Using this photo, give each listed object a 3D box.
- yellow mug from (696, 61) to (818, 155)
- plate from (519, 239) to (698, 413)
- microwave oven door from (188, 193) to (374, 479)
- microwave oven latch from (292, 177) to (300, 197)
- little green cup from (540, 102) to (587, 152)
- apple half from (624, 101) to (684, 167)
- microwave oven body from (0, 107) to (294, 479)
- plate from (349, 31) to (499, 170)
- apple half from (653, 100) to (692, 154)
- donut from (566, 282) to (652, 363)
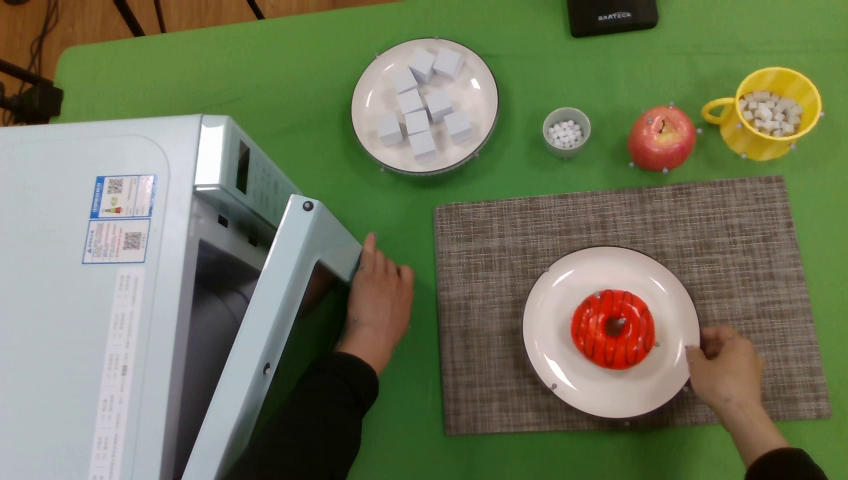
[{"bbox_3d":[0.416,-0.168,0.771,0.130,0.064,0.099,6,76,10],"label":"yellow mug"},{"bbox_3d":[0.221,0.103,0.738,0.209,0.038,0.208,-2,76,8],"label":"plate"},{"bbox_3d":[-0.150,0.149,0.655,0.039,0.245,0.354,15,78,12],"label":"microwave oven door"},{"bbox_3d":[-0.184,-0.043,0.815,0.030,0.029,0.079,1,76,8],"label":"microwave oven latch"},{"bbox_3d":[0.186,-0.149,0.812,0.061,0.039,0.061,-2,75,8],"label":"little green cup"},{"bbox_3d":[0.286,-0.128,0.775,0.053,0.075,0.080,-31,77,4],"label":"apple half"},{"bbox_3d":[-0.345,0.107,0.697,0.326,0.262,0.439,-2,76,7],"label":"microwave oven body"},{"bbox_3d":[0.001,-0.192,0.848,0.207,0.039,0.206,-2,75,7],"label":"plate"},{"bbox_3d":[0.320,-0.148,0.775,0.033,0.082,0.081,-32,73,4],"label":"apple half"},{"bbox_3d":[0.222,0.099,0.727,0.099,0.048,0.098,-2,77,8],"label":"donut"}]
